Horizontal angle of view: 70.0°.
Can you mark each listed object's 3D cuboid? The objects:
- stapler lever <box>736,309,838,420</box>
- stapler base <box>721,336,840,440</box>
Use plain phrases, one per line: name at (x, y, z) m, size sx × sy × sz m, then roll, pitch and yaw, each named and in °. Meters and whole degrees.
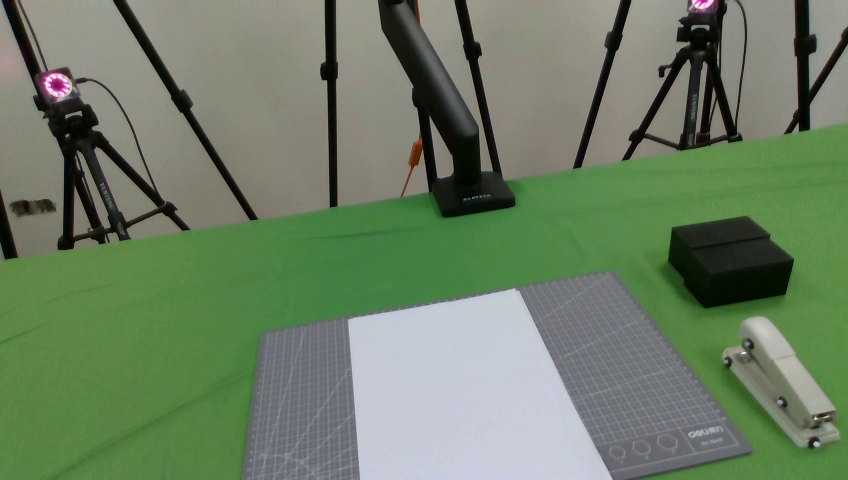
stapler lever at (0.333, 0.110, 0.561) m, size 0.027 × 0.040 × 0.117 m, roll -11°, pitch 34°, yaw -4°
stapler base at (0.335, 0.131, 0.577) m, size 0.041 × 0.024 × 0.129 m, roll -11°, pitch 34°, yaw -4°
